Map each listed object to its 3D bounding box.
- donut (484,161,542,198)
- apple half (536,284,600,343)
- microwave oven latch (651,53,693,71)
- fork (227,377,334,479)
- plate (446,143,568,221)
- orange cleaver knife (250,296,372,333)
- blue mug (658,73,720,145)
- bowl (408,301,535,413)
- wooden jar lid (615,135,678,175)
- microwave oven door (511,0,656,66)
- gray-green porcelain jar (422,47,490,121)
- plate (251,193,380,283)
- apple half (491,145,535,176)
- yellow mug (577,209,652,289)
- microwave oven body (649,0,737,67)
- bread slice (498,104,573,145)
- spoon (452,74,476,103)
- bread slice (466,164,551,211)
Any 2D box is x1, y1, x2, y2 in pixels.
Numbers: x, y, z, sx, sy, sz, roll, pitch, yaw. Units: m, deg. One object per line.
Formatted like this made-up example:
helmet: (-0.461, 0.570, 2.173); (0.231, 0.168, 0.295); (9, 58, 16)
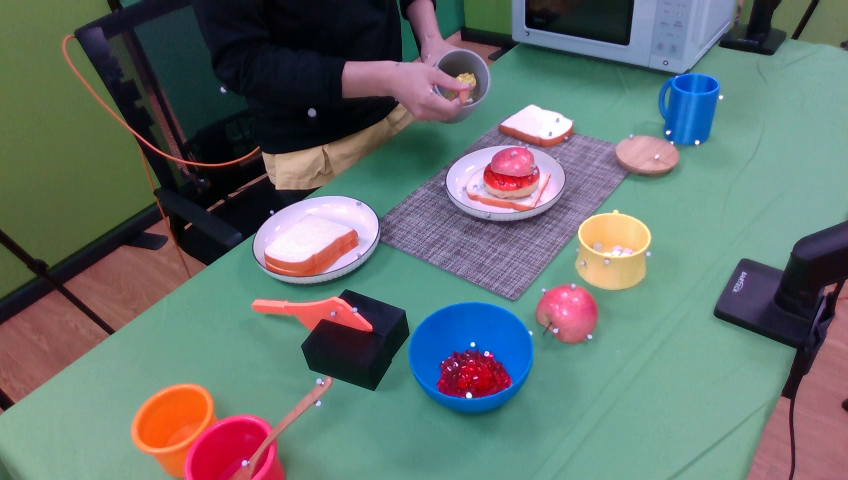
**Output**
donut: (0.149, -0.109, 1.016); (0.099, 0.048, 0.098); (-4, 40, 4)
apple half: (0.196, 0.091, 0.815); (0.075, 0.053, 0.080); (-22, 42, -20)
microwave oven latch: (0.532, -0.386, 1.301); (0.078, 0.029, 0.030); (27, 52, 34)
fork: (-0.162, 0.216, 0.647); (0.207, 0.019, 0.028); (-49, 41, 16)
plate: (0.142, -0.097, 1.045); (0.207, 0.039, 0.206); (-4, 40, 4)
orange cleaver knife: (-0.158, 0.103, 0.828); (0.210, 0.078, 0.012); (-4, 43, 39)
blue mug: (0.483, -0.250, 1.127); (0.082, 0.106, 0.115); (-26, 44, -19)
bowl: (0.059, 0.156, 0.739); (0.151, 0.077, 0.150); (-4, 40, 4)
wooden jar lid: (0.398, -0.151, 1.086); (0.108, 0.021, 0.108); (-2, 42, 2)
microwave oven door: (0.351, -0.540, 1.349); (0.353, 0.245, 0.039); (24, 50, 31)
gray-green porcelain jar: (0.055, -0.282, 1.115); (0.106, 0.106, 0.126); (-17, 0, -11)
plate: (-0.174, -0.001, 0.984); (0.209, 0.038, 0.208); (-4, 41, 4)
apple half: (0.147, -0.138, 0.994); (0.081, 0.033, 0.081); (1, 36, 0)
yellow mug: (0.279, 0.004, 0.893); (0.099, 0.064, 0.130); (5, 42, 14)
microwave oven body: (0.475, -0.602, 1.411); (0.438, 0.261, 0.327); (23, 50, 32)
bread slice: (0.231, -0.232, 1.205); (0.105, 0.019, 0.130); (-36, 48, -29)
spoon: (0.063, -0.243, 0.964); (0.041, 0.022, 0.193); (-3, 21, 5)
bread slice: (0.141, -0.091, 1.043); (0.134, 0.018, 0.107); (12, 43, 18)
